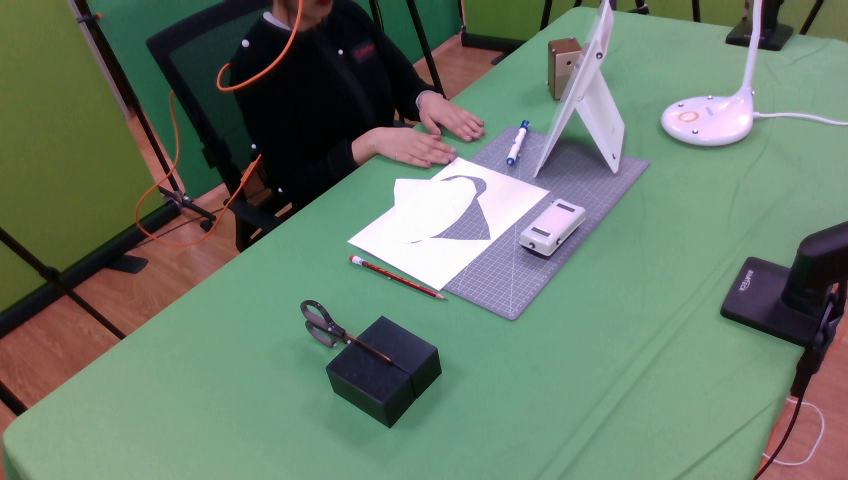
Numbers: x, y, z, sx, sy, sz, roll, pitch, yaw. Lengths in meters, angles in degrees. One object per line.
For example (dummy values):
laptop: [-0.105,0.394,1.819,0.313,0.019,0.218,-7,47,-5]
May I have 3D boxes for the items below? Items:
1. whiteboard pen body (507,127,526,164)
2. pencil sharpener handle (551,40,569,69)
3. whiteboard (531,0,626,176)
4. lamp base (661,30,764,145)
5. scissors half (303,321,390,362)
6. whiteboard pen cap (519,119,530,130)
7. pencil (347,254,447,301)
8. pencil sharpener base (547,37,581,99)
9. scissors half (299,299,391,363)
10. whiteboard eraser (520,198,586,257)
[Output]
whiteboard pen body: [0.181,-0.189,1.162,0.017,0.017,0.140,8,42,19]
pencil sharpener handle: [0.291,-0.409,1.320,0.036,0.068,0.030,2,40,-6]
whiteboard: [0.320,-0.258,1.050,0.144,0.306,0.217,22,45,5]
lamp base: [0.535,-0.287,1.096,0.179,0.181,0.159,-10,40,-4]
scissors half: [-0.105,0.138,0.803,0.174,0.040,0.013,8,27,44]
whiteboard pen cap: [0.199,-0.226,1.204,0.018,0.018,0.033,7,41,18]
pencil: [-0.044,0.058,0.933,0.192,0.012,0.012,22,49,29]
pencil sharpener base: [0.299,-0.368,1.290,0.061,0.107,0.076,-8,40,2]
scissors half: [-0.107,0.120,0.794,0.174,0.040,0.013,26,44,33]
whiteboard eraser: [0.203,-0.019,0.946,0.055,0.042,0.113,24,50,34]
